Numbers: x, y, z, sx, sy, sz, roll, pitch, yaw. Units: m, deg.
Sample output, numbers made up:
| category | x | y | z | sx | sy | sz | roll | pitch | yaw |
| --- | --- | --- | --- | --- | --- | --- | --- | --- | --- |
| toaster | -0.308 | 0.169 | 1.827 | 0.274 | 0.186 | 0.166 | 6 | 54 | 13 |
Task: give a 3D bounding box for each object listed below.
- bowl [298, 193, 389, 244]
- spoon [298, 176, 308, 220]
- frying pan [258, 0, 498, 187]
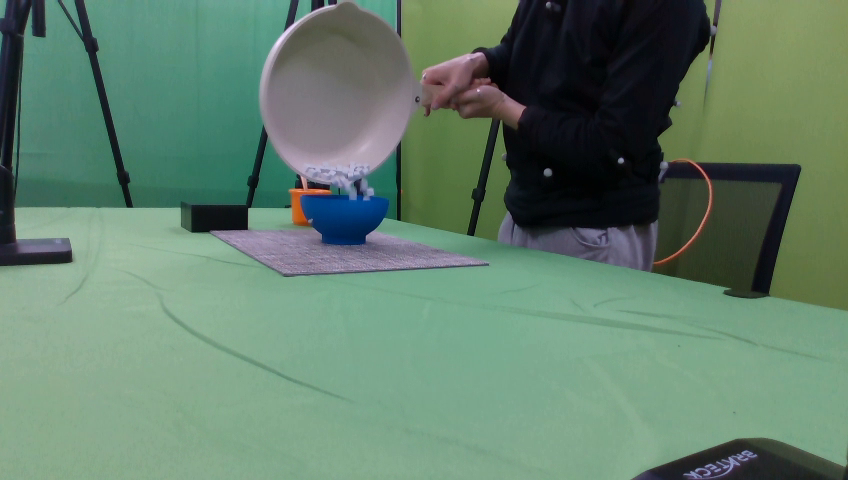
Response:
| category | x | y | z | sx | sy | sz | roll | pitch | yaw |
| --- | --- | --- | --- | --- | --- | --- | --- | --- | --- |
| bowl | -0.136 | -0.037 | 1.018 | 0.151 | 0.077 | 0.151 | 2 | 7 | 0 |
| spoon | -0.264 | -0.114 | 1.338 | 0.042 | 0.193 | 0.021 | 0 | -37 | -21 |
| frying pan | -0.062 | -0.258 | 1.073 | 0.490 | 0.306 | 0.102 | -10 | 29 | -31 |
